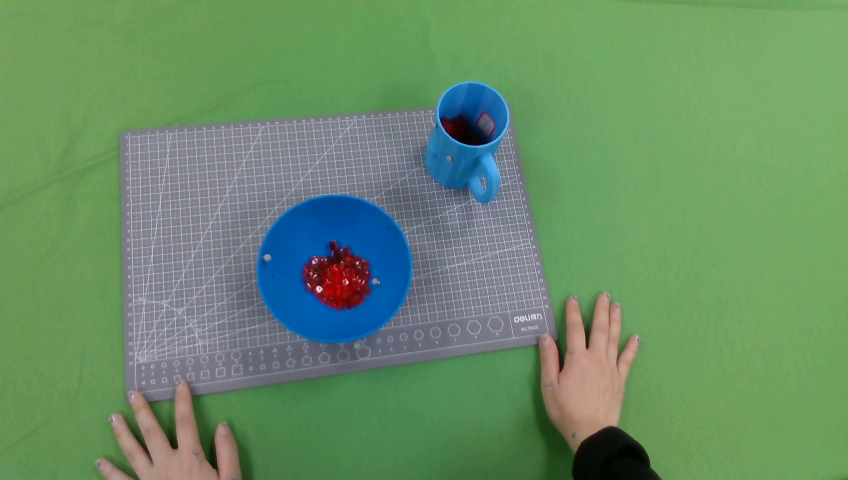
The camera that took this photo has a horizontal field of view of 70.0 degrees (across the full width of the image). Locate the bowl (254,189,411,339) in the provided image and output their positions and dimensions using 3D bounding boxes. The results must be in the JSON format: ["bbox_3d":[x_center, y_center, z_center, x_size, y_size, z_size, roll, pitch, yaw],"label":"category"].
[{"bbox_3d":[-0.091,0.031,0.621,0.152,0.077,0.150,2,74,-7],"label":"bowl"}]

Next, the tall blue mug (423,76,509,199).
[{"bbox_3d":[0.054,-0.107,0.662,0.107,0.108,0.077,40,72,6],"label":"tall blue mug"}]
